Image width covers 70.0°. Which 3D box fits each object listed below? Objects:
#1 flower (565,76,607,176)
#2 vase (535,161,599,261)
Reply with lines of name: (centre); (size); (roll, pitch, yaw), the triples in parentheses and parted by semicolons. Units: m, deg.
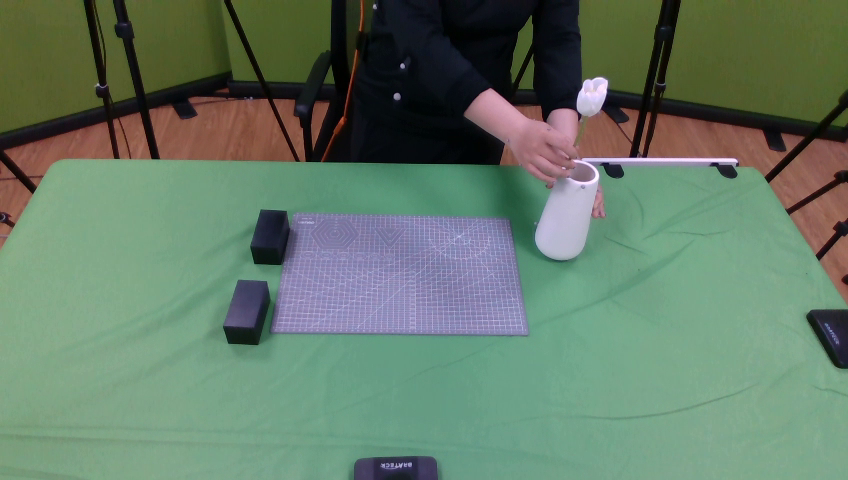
flower: (0.253, -0.146, 1.027); (0.044, 0.363, 0.038); (-42, 69, -16)
vase: (0.271, -0.052, 1.145); (0.098, 0.201, 0.097); (1, 46, -1)
